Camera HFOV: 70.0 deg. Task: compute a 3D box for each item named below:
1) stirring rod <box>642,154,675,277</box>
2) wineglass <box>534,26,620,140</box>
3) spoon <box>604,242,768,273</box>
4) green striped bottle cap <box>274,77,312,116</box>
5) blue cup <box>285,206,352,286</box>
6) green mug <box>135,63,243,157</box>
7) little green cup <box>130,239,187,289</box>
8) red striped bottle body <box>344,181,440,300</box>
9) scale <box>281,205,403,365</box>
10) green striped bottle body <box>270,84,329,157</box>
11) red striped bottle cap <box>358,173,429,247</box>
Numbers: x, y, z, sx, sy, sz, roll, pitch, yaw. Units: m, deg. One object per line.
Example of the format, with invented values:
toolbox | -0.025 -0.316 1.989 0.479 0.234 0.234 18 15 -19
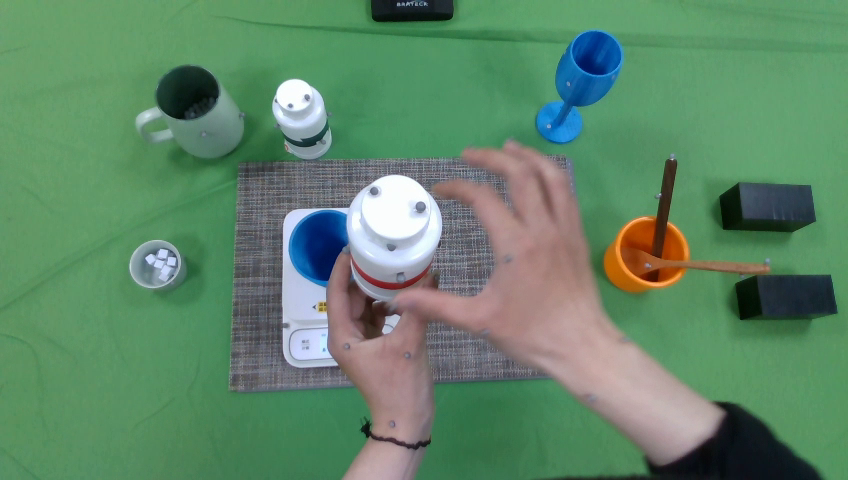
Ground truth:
stirring rod | 0.290 -0.025 0.752 0.014 0.177 0.006 3 34 11
wineglass | 0.191 -0.195 0.779 0.074 0.173 0.073 1 74 -2
spoon | 0.312 0.025 0.740 0.022 0.192 0.041 20 78 -43
green striped bottle cap | -0.157 -0.172 0.727 0.044 0.020 0.044 1 74 -3
blue cup | -0.110 0.016 0.708 0.093 0.100 0.092 1 77 -3
green mug | -0.304 -0.158 0.778 0.125 0.105 0.092 -23 78 -9
little green cup | -0.329 0.032 0.759 0.061 0.039 0.061 1 74 -4
red striped bottle body | -0.023 -0.002 0.424 0.063 0.120 0.062 2 71 -4
scale | -0.105 0.052 0.766 0.149 0.032 0.200 -3 76 -3
green striped bottle body | -0.159 -0.158 0.777 0.063 0.120 0.063 1 74 -2
red striped bottle cap | -0.019 -0.019 0.373 0.044 0.018 0.044 2 70 -6
